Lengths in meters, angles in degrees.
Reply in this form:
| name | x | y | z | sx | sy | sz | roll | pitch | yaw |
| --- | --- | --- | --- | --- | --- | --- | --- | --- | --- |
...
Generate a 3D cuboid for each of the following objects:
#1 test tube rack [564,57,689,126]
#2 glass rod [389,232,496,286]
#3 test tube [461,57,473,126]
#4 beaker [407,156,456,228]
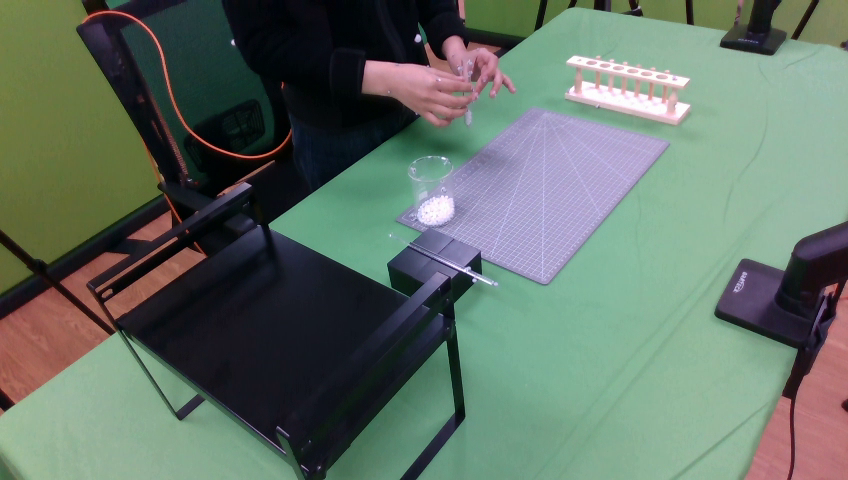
| name | x | y | z | sx | sy | sz | roll | pitch | yaw |
| --- | --- | --- | --- | --- | --- | --- | --- | --- | --- |
| test tube rack | 0.411 | -0.311 | 1.230 | 0.240 | 0.085 | 0.067 | 24 | 49 | 32 |
| glass rod | 0.022 | 0.025 | 0.878 | 0.198 | 0.008 | 0.008 | 25 | 50 | 33 |
| test tube | 0.076 | -0.260 | 1.069 | 0.017 | 0.151 | 0.017 | -3 | 55 | 5 |
| beaker | 0.016 | -0.079 | 1.002 | 0.073 | 0.101 | 0.084 | 26 | 49 | 33 |
